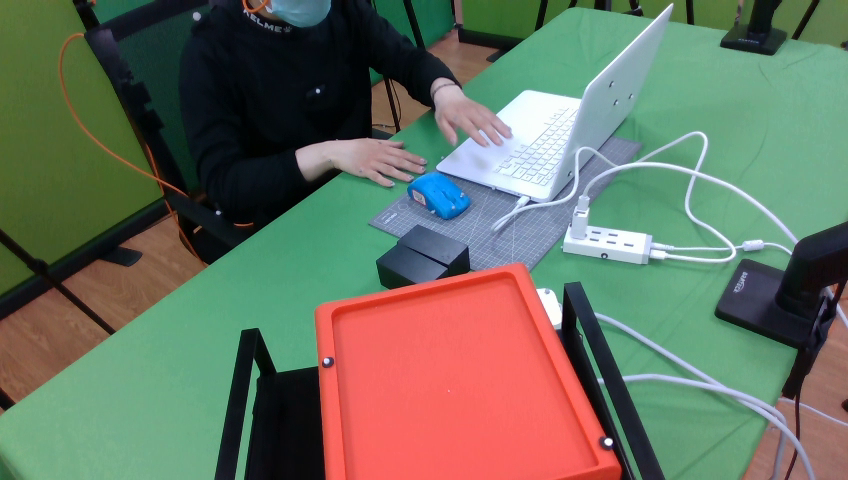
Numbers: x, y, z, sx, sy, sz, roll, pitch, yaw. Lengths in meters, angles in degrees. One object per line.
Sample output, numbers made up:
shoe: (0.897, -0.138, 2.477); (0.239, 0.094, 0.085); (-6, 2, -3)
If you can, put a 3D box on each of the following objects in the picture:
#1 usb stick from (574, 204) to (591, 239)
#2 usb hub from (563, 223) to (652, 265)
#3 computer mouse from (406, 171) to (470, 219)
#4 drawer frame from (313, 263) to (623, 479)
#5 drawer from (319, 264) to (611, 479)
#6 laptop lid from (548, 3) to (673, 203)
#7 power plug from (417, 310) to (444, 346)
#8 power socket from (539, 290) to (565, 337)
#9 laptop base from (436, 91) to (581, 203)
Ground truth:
usb stick: (0.240, -0.023, 0.914); (0.021, 0.059, 0.027); (-4, 34, 19)
usb hub: (0.281, 0.005, 0.925); (0.124, 0.025, 0.049); (10, 44, 19)
computer mouse: (0.024, -0.082, 1.049); (0.063, 0.041, 0.116); (-30, 50, -27)
drawer frame: (0.021, 0.130, 0.493); (0.202, 0.083, 0.212); (-11, 41, -6)
drawer: (0.020, 0.129, 0.497); (0.195, 0.073, 0.210); (-11, 41, -5)
laptop lid: (0.320, -0.235, 1.026); (0.013, 0.242, 0.357); (31, 50, 20)
power plug: (0.007, 0.122, 0.786); (0.035, 0.053, 0.072); (0, 39, 7)
power socket: (0.081, 0.112, 0.822); (0.227, 0.033, 0.072); (-6, 41, 0)
laptop base: (0.215, -0.192, 1.172); (0.233, 0.023, 0.355); (19, 46, 32)
